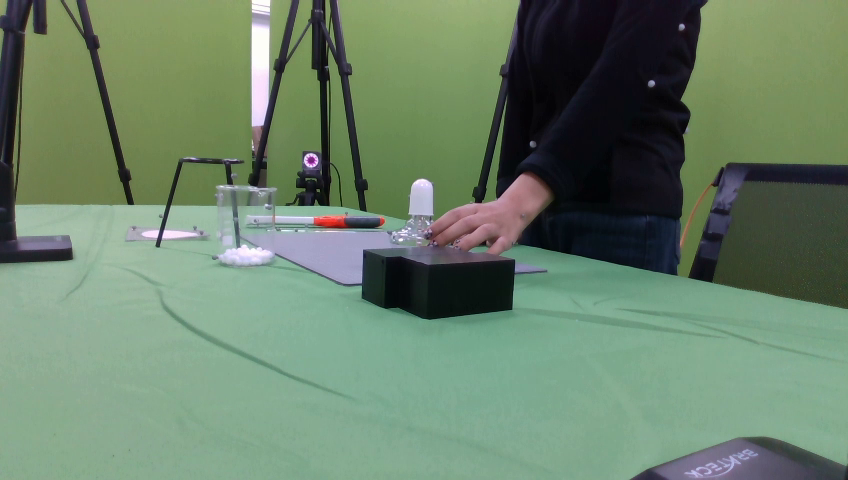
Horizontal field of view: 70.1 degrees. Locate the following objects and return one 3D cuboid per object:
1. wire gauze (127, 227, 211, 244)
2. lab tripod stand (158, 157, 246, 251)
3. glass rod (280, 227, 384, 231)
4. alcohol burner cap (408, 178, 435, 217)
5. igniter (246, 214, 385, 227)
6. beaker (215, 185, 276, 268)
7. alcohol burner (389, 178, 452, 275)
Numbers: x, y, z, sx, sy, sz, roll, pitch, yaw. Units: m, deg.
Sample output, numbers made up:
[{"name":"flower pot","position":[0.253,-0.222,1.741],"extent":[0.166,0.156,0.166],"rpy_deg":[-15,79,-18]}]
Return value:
[{"name":"wire gauze","position":[-0.420,-0.010,0.999],"extent":[0.122,0.011,0.124],"rpy_deg":[-2,10,-24]},{"name":"lab tripod stand","position":[-0.314,-0.055,0.891],"extent":[0.148,0.131,0.148],"rpy_deg":[2,9,0]},{"name":"glass rod","position":[-0.175,-0.021,1.162],"extent":[0.200,0.008,0.008],"rpy_deg":[1,7,-15]},{"name":"alcohol burner cap","position":[-0.003,-0.053,0.746],"extent":[0.034,0.048,0.034],"rpy_deg":[3,3,0]},{"name":"igniter","position":[-0.214,-0.040,1.216],"extent":[0.278,0.025,0.057],"rpy_deg":[-1,-2,-22]},{"name":"beaker","position":[-0.226,-0.019,0.773],"extent":[0.074,0.100,0.084],"rpy_deg":[5,7,14]},{"name":"alcohol burner","position":[-0.004,-0.017,0.749],"extent":[0.078,0.119,0.078],"rpy_deg":[1,9,0]}]
